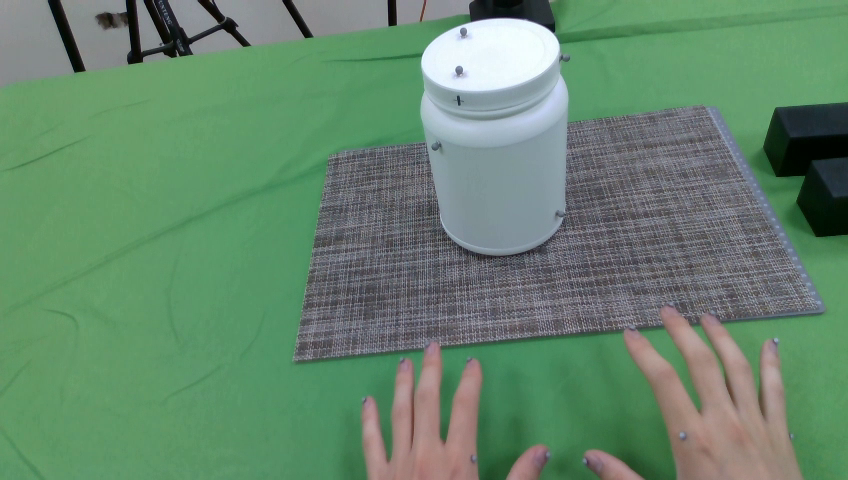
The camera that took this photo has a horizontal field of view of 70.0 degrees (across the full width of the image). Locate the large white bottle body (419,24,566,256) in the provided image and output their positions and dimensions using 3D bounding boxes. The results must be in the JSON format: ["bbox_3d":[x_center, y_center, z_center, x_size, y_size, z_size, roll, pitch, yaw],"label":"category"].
[{"bbox_3d":[0.066,-0.089,0.565,0.130,0.186,0.129,-6,46,6],"label":"large white bottle body"}]

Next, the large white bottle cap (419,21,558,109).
[{"bbox_3d":[0.053,-0.148,0.505,0.115,0.018,0.113,-5,46,6],"label":"large white bottle cap"}]
